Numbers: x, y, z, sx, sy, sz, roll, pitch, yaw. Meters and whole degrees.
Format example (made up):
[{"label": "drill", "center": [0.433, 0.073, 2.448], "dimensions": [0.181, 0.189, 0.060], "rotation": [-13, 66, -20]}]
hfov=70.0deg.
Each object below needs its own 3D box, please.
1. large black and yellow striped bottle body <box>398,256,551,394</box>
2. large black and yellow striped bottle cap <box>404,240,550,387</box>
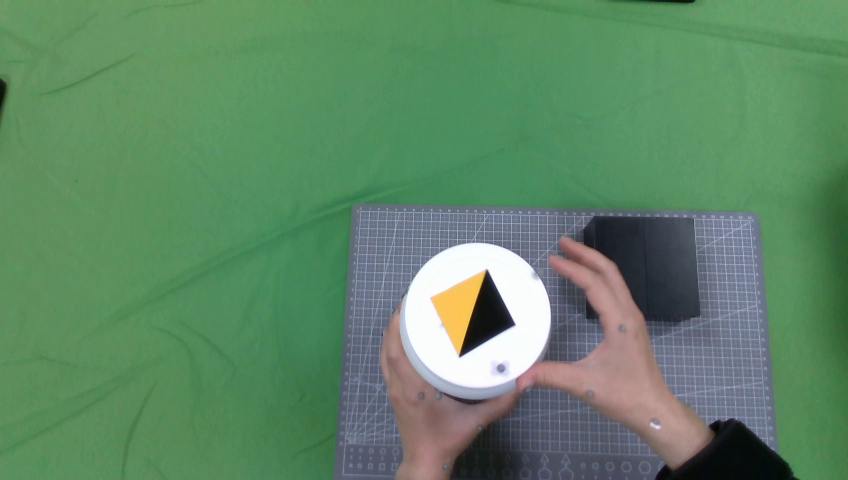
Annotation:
[{"label": "large black and yellow striped bottle body", "center": [0.045, 0.075, 0.559], "dimensions": [0.131, 0.185, 0.130], "rotation": [0, 77, 2]}, {"label": "large black and yellow striped bottle cap", "center": [0.041, 0.057, 0.475], "dimensions": [0.115, 0.019, 0.114], "rotation": [-1, 76, 3]}]
